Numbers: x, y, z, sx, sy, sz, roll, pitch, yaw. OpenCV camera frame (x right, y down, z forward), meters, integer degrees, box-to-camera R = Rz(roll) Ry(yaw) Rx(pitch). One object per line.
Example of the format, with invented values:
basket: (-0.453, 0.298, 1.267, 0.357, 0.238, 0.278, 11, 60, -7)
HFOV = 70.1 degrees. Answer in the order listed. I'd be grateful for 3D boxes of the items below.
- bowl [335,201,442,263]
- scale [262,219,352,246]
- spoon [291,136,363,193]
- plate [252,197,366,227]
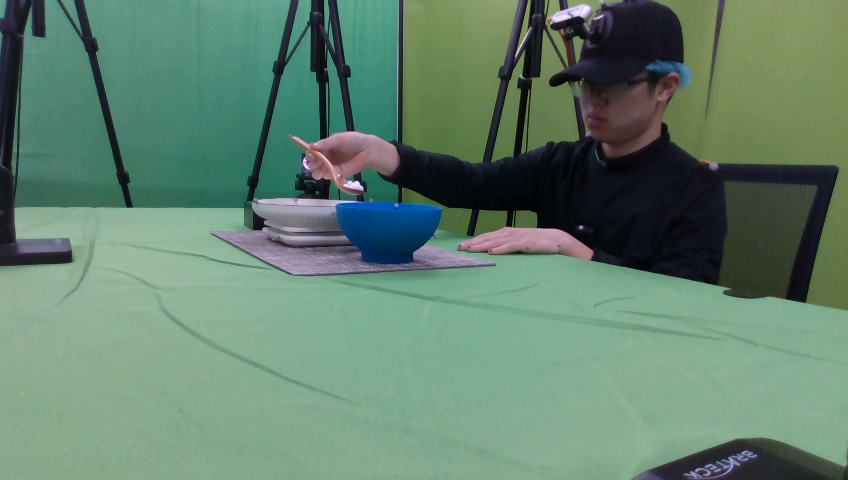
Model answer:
bowl: (-0.051, -0.012, 0.849, 0.151, 0.077, 0.151, 2, 7, 0)
scale: (-0.160, -0.015, 1.027, 0.202, 0.031, 0.148, -2, 8, -32)
spoon: (-0.163, -0.126, 0.990, 0.042, 0.021, 0.193, 6, 32, -51)
plate: (-0.178, -0.047, 1.012, 0.209, 0.038, 0.209, 2, 6, 0)
